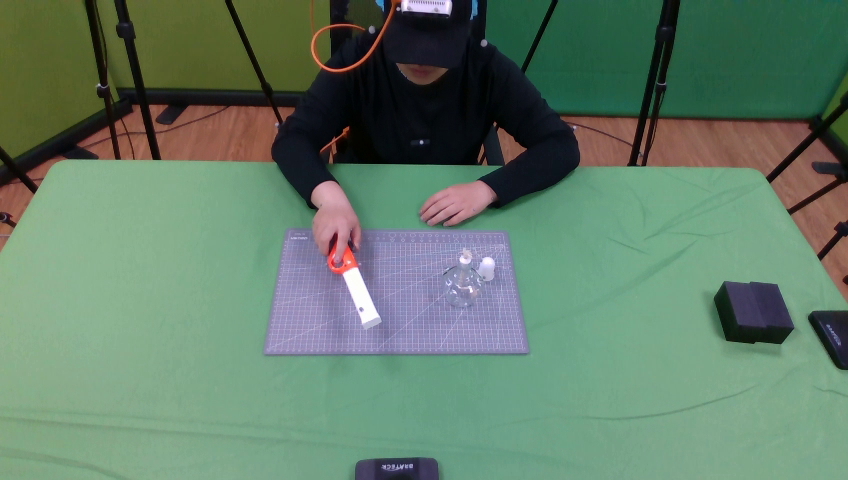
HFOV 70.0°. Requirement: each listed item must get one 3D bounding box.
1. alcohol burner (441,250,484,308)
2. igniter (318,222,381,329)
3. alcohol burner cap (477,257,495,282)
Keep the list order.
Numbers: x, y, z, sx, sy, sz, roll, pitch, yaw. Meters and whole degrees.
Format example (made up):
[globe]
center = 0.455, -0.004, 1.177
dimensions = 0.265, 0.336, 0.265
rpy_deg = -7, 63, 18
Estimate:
[alcohol burner]
center = 0.069, 0.064, 1.075
dimensions = 0.078, 0.120, 0.077
rpy_deg = 1, 45, -1
[igniter]
center = -0.136, 0.052, 1.073
dimensions = 0.057, 0.025, 0.274
rpy_deg = -25, 45, -7
[alcohol burner cap]
center = 0.118, 0.053, 1.140
dimensions = 0.034, 0.048, 0.033
rpy_deg = 2, 46, -2
